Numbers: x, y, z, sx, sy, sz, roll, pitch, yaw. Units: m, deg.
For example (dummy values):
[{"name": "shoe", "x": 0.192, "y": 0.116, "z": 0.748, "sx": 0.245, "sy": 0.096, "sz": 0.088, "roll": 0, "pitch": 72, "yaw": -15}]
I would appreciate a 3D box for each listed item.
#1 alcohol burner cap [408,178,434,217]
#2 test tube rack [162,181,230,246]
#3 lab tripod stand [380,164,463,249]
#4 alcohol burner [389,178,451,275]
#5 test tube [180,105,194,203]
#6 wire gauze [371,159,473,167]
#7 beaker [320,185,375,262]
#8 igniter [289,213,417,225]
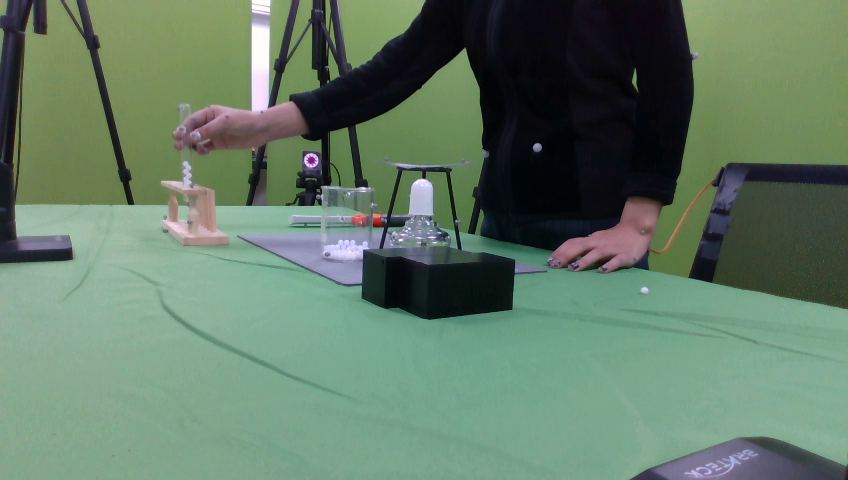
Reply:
[{"name": "alcohol burner cap", "x": -0.003, "y": -0.053, "z": 0.746, "sx": 0.034, "sy": 0.048, "sz": 0.034, "roll": 2, "pitch": 3, "yaw": 0}, {"name": "test tube rack", "x": -0.387, "y": -0.050, "z": 1.015, "sx": 0.067, "sy": 0.085, "sz": 0.241, "roll": -2, "pitch": 9, "yaw": -30}, {"name": "lab tripod stand", "x": -0.004, "y": -0.055, "z": 0.967, "sx": 0.148, "sy": 0.131, "sz": 0.148, "roll": 2, "pitch": 9, "yaw": 0}, {"name": "alcohol burner", "x": -0.005, "y": -0.017, "z": 0.748, "sx": 0.078, "sy": 0.119, "sz": 0.078, "roll": 1, "pitch": 9, "yaw": 0}, {"name": "test tube", "x": -0.366, "y": -0.132, "z": 0.936, "sx": 0.017, "sy": 0.150, "sz": 0.017, "roll": 0, "pitch": 5, "yaw": 0}, {"name": "wire gauze", "x": -0.005, "y": -0.122, "z": 0.958, "sx": 0.122, "sy": 0.011, "sz": 0.124, "roll": -4, "pitch": 9, "yaw": -33}, {"name": "beaker", "x": -0.106, "y": -0.024, "z": 0.826, "sx": 0.074, "sy": 0.100, "sz": 0.084, "roll": 2, "pitch": 6, "yaw": -7}, {"name": "igniter", "x": -0.144, "y": -0.044, "z": 1.275, "sx": 0.278, "sy": 0.025, "sz": 0.057, "roll": -1, "pitch": -2, "yaw": -27}]
